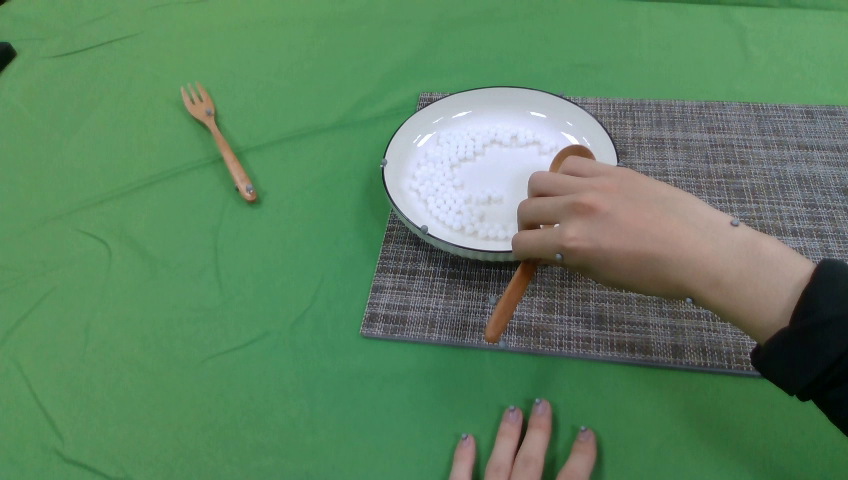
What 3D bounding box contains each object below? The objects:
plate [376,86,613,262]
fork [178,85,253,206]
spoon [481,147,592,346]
[{"bbox_3d":[0.061,-0.060,0.547,0.207,0.039,0.205,-2,51,3],"label":"plate"},{"bbox_3d":[-0.215,-0.102,0.623,0.028,0.019,0.205,-23,51,-20],"label":"fork"},{"bbox_3d":[0.085,-0.001,0.457,0.042,0.021,0.193,41,56,-13],"label":"spoon"}]
